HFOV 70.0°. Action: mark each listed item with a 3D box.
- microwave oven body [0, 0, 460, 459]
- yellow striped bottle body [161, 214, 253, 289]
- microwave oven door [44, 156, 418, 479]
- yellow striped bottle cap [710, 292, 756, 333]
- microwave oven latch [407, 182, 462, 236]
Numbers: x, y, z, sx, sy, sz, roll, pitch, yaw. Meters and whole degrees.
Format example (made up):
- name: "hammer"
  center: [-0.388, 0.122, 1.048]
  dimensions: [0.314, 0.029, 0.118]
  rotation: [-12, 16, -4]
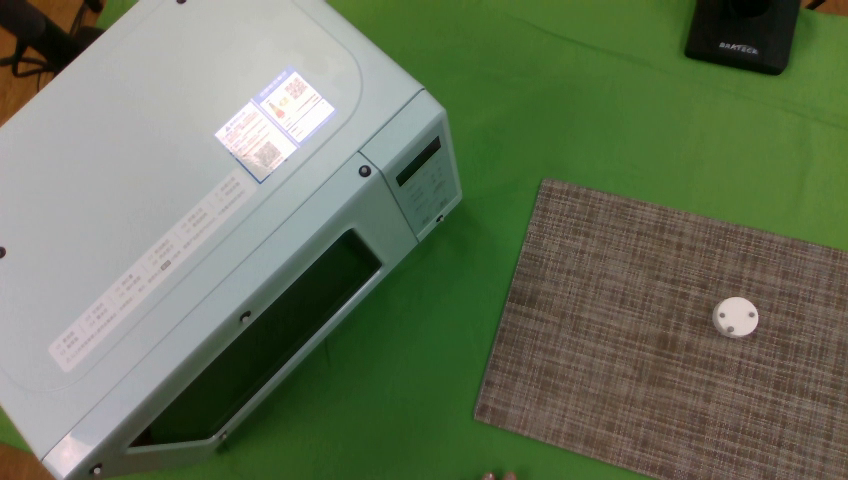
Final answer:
- name: "microwave oven body"
  center: [-0.230, -0.039, 0.650]
  dimensions: [0.324, 0.261, 0.441]
  rotation: [43, 85, 14]
- name: "yellow striped bottle body"
  center: [-0.233, 0.011, 0.645]
  dimensions: [0.063, 0.121, 0.062]
  rotation: [-1, 75, 4]
- name: "microwave oven door"
  center: [-0.157, 0.085, 0.604]
  dimensions: [0.039, 0.245, 0.355]
  rotation: [43, 85, 16]
- name: "yellow striped bottle cap"
  center: [0.344, 0.081, 0.675]
  dimensions: [0.044, 0.019, 0.044]
  rotation: [-2, 76, 8]
- name: "microwave oven latch"
  center: [0.011, -0.043, 0.721]
  dimensions: [0.079, 0.029, 0.030]
  rotation: [-44, 75, -4]
